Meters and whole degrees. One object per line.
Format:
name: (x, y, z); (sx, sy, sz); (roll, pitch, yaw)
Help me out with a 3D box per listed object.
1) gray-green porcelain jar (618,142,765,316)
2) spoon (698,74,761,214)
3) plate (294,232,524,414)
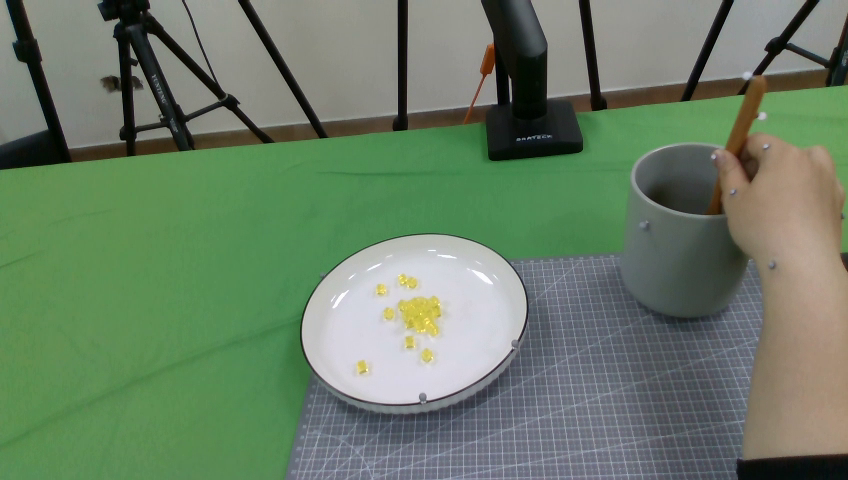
gray-green porcelain jar: (0.228, -0.005, 0.532); (0.106, 0.128, 0.105); (-6, 41, 5)
spoon: (0.242, -0.045, 0.495); (0.021, 0.196, 0.041); (-23, 47, -12)
plate: (-0.012, 0.074, 0.557); (0.207, 0.039, 0.205); (-5, 41, 5)
